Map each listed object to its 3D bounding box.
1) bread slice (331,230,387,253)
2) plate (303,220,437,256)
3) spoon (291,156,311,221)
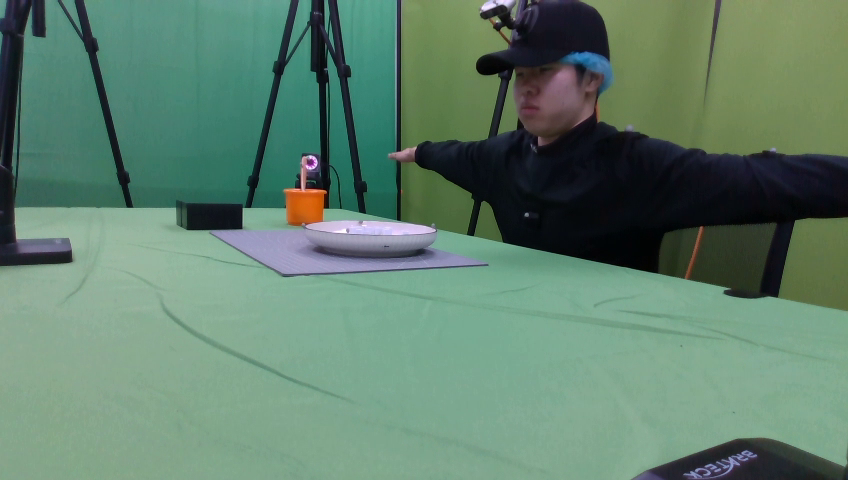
[{"bbox_3d":[-0.088,0.000,0.947,0.105,0.019,0.131,-4,11,-44],"label":"bread slice"},{"bbox_3d":[-0.084,-0.003,0.951,0.209,0.038,0.209,3,7,0],"label":"plate"},{"bbox_3d":[-0.268,-0.117,1.330,0.042,0.021,0.193,3,47,-12],"label":"spoon"}]
